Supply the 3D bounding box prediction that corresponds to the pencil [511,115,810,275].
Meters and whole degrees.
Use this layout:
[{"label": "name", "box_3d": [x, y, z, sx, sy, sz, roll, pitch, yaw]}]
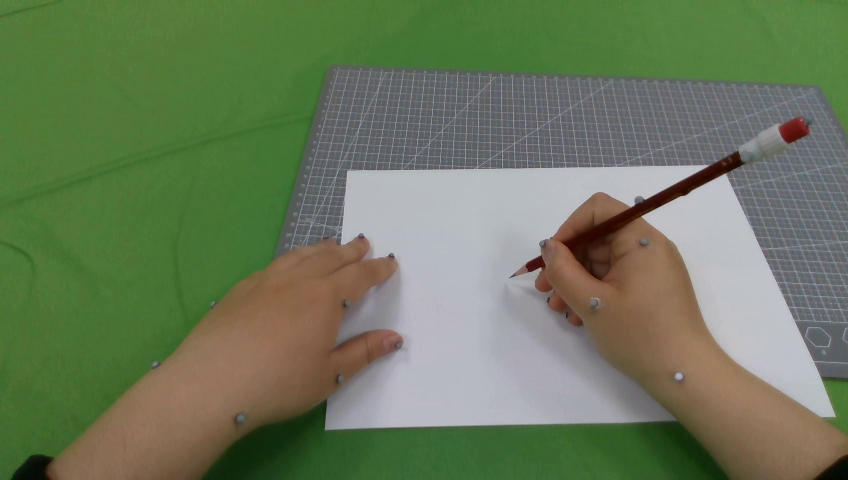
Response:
[{"label": "pencil", "box_3d": [0.112, -0.014, 0.334, 0.012, 0.194, 0.012, 17, 58, -30]}]
